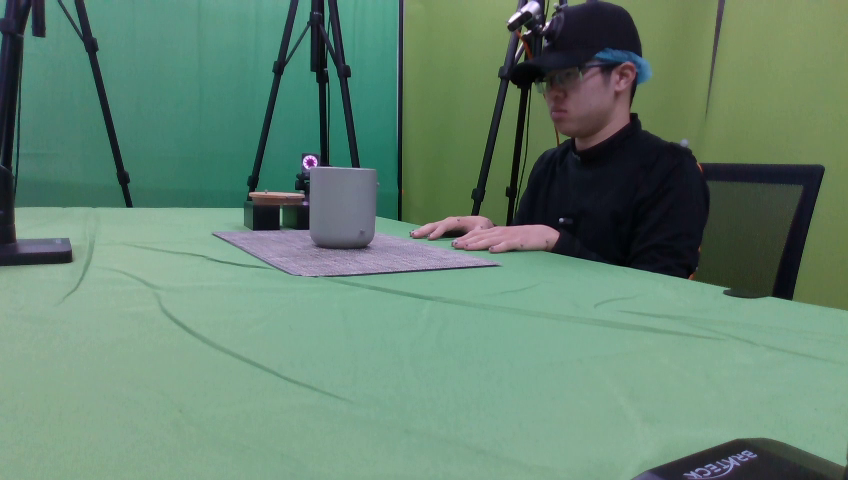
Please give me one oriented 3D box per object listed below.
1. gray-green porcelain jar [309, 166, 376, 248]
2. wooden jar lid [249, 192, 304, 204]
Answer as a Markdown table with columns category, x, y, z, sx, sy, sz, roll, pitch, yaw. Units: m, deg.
| category | x | y | z | sx | sy | sz | roll | pitch | yaw |
| --- | --- | --- | --- | --- | --- | --- | --- | --- | --- |
| gray-green porcelain jar | -0.130 | -0.054 | 0.965 | 0.106 | 0.126 | 0.106 | 2 | 7 | 0 |
| wooden jar lid | -0.297 | -0.086 | 1.220 | 0.108 | 0.020 | 0.108 | 4 | 7 | 0 |
